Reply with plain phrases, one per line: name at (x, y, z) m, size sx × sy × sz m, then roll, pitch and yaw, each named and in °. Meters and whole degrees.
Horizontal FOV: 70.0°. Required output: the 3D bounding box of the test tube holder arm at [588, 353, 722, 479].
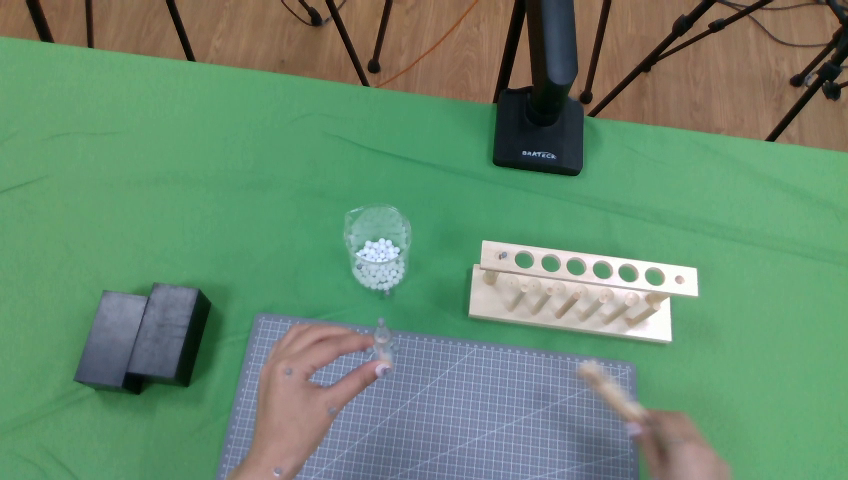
test tube holder arm at (0.236, 0.186, 0.628) m, size 0.013 × 0.015 × 0.177 m, roll -34°, pitch 70°, yaw -34°

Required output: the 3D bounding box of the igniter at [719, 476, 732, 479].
igniter at (0.292, 0.381, 0.608) m, size 0.057 × 0.025 × 0.275 m, roll 18°, pitch 67°, yaw -7°

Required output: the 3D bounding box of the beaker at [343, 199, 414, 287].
beaker at (-0.055, 0.006, 0.702) m, size 0.083 × 0.101 × 0.074 m, roll 34°, pitch 69°, yaw 11°

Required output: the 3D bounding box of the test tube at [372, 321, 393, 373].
test tube at (-0.035, 0.096, 0.527) m, size 0.017 × 0.151 × 0.017 m, roll 1°, pitch 68°, yaw -2°

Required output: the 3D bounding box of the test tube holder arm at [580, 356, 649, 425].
test tube holder arm at (0.201, 0.158, 0.638) m, size 0.087 × 0.015 × 0.010 m, roll 44°, pitch 54°, yaw 17°

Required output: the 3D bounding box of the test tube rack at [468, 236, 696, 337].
test tube rack at (0.178, 0.056, 0.705) m, size 0.242 × 0.086 × 0.066 m, roll 7°, pitch 67°, yaw -1°
